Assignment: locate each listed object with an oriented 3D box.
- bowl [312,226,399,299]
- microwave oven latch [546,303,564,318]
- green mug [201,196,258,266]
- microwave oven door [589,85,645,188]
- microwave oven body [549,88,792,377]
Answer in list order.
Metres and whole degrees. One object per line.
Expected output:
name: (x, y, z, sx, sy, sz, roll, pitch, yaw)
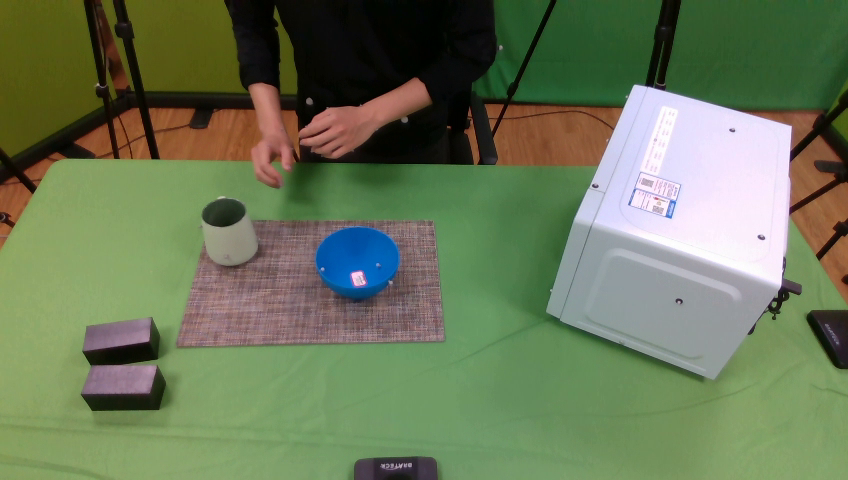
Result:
bowl: (-0.120, 0.054, 1.091, 0.151, 0.077, 0.150, 2, 46, -2)
microwave oven latch: (0.242, 0.102, 1.081, 0.030, 0.029, 0.079, 21, 48, 17)
green mug: (-0.366, -0.025, 1.130, 0.092, 0.105, 0.124, -13, 48, -16)
microwave oven door: (0.342, -0.107, 1.149, 0.039, 0.245, 0.354, 20, 48, 15)
microwave oven body: (0.456, -0.028, 1.088, 0.325, 0.261, 0.440, 20, 47, 16)
